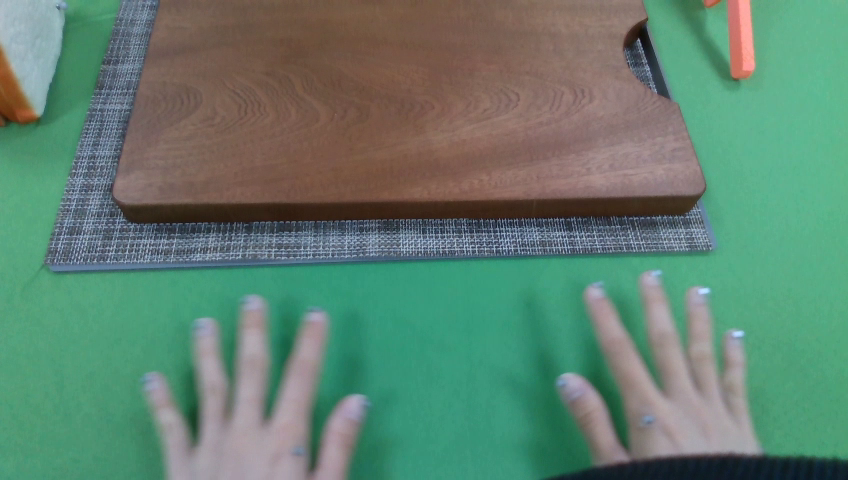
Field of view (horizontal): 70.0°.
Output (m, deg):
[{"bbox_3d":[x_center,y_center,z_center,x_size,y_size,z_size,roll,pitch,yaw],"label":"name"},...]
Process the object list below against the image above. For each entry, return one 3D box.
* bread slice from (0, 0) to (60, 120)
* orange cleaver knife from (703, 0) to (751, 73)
[{"bbox_3d":[-0.295,-0.169,0.434,0.019,0.105,0.130,-4,54,-9],"label":"bread slice"},{"bbox_3d":[0.262,-0.246,0.530,0.012,0.077,0.211,0,88,-5],"label":"orange cleaver knife"}]
